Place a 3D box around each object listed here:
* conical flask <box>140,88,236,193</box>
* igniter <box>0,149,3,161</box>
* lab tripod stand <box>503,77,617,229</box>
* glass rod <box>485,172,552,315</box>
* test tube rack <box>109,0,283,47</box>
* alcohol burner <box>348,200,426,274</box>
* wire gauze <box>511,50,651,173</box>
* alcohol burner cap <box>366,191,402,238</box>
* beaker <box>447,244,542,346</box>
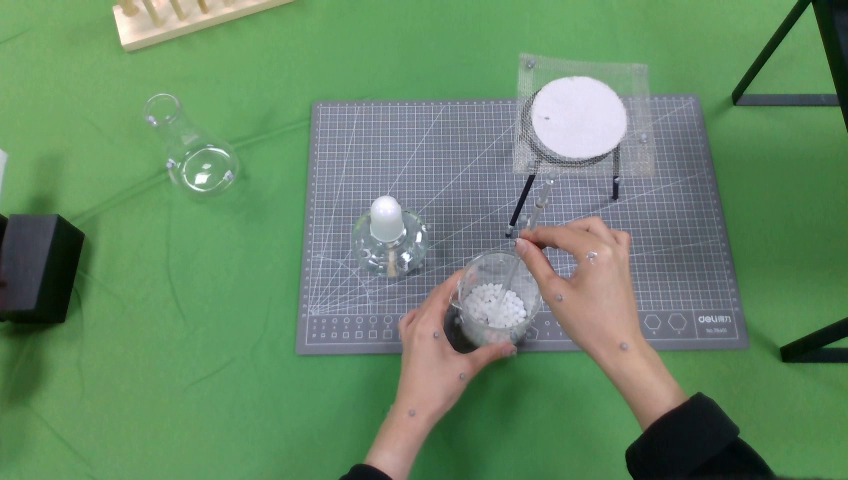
[{"bbox_3d":[-0.248,-0.106,0.625,0.075,0.122,0.075,0,68,1],"label":"conical flask"},{"bbox_3d":[-0.436,0.032,0.575,0.057,0.025,0.274,-9,68,2],"label":"igniter"},{"bbox_3d":[0.134,-0.087,0.605,0.148,0.132,0.147,0,67,0],"label":"lab tripod stand"},{"bbox_3d":[0.078,0.012,0.523,0.008,0.201,0.008,5,52,-6],"label":"glass rod"},{"bbox_3d":[-0.267,-0.319,0.728,0.242,0.086,0.066,-20,70,-7],"label":"test tube rack"},{"bbox_3d":[-0.036,-0.011,0.588,0.078,0.120,0.077,0,67,-1],"label":"alcohol burner"},{"bbox_3d":[0.140,-0.116,0.543,0.121,0.011,0.124,5,69,1],"label":"wire gauze"},{"bbox_3d":[-0.037,-0.026,0.555,0.034,0.048,0.033,1,62,-2],"label":"alcohol burner cap"},{"bbox_3d":[0.063,0.057,0.568,0.084,0.101,0.073,-10,68,-2],"label":"beaker"}]
